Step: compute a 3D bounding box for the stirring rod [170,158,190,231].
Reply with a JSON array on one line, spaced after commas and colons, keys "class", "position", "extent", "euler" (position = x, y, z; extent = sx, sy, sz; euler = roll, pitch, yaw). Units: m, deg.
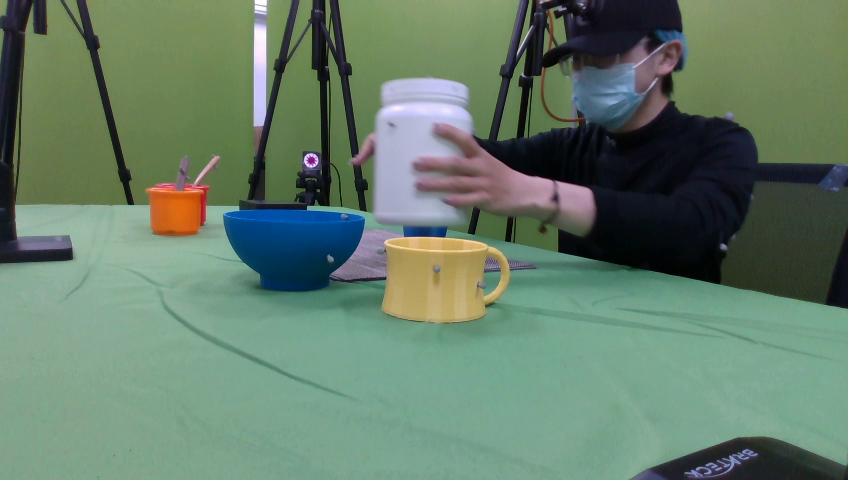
[{"class": "stirring rod", "position": [-0.426, -0.083, 1.059], "extent": [0.014, 0.006, 0.175], "euler": [1, 49, -13]}]

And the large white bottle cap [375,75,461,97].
[{"class": "large white bottle cap", "position": [-0.008, -0.200, 0.806], "extent": [0.115, 0.018, 0.115], "euler": [0, 3, 0]}]

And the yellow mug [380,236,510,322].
[{"class": "yellow mug", "position": [0.024, 0.034, 0.575], "extent": [0.131, 0.064, 0.099], "euler": [1, 7, -22]}]

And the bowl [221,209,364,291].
[{"class": "bowl", "position": [-0.142, 0.011, 0.660], "extent": [0.151, 0.077, 0.151], "euler": [2, 7, 0]}]

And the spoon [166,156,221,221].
[{"class": "spoon", "position": [-0.447, -0.104, 1.192], "extent": [0.041, 0.022, 0.193], "euler": [7, 52, 14]}]

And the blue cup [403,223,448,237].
[{"class": "blue cup", "position": [0.003, -0.038, 0.966], "extent": [0.093, 0.100, 0.092], "euler": [4, 9, 0]}]

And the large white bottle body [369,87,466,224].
[{"class": "large white bottle body", "position": [-0.009, -0.115, 0.812], "extent": [0.131, 0.184, 0.130], "euler": [1, 3, 0]}]
